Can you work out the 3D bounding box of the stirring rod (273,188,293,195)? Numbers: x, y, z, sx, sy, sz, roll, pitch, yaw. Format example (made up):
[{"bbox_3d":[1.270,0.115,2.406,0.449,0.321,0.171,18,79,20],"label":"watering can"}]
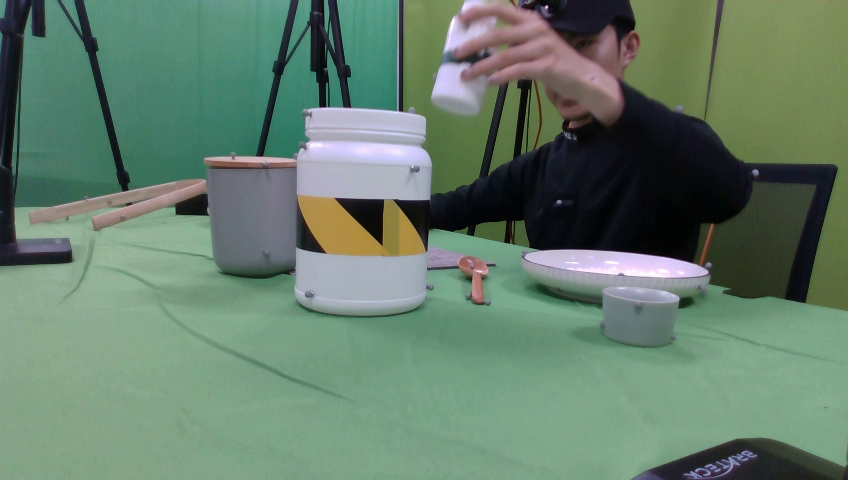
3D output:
[{"bbox_3d":[-0.353,-0.122,1.519,0.006,0.014,0.176,1,7,1],"label":"stirring rod"}]

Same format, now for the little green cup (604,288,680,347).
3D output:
[{"bbox_3d":[0.180,0.064,0.505,0.061,0.038,0.061,2,7,0],"label":"little green cup"}]

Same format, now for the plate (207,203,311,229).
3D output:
[{"bbox_3d":[-0.342,-0.050,1.259,0.208,0.039,0.207,3,7,0],"label":"plate"}]

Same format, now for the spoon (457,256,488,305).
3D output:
[{"bbox_3d":[0.059,0.044,0.696,0.041,0.021,0.193,21,7,0],"label":"spoon"}]

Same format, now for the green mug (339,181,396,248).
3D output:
[{"bbox_3d":[-0.097,-0.044,0.995,0.093,0.105,0.125,-1,8,-21],"label":"green mug"}]

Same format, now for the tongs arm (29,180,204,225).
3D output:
[{"bbox_3d":[-0.609,-0.083,1.245,0.050,0.026,0.386,5,16,23],"label":"tongs arm"}]

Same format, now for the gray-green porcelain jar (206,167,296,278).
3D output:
[{"bbox_3d":[-0.201,-0.024,0.724,0.106,0.126,0.106,-1,9,1],"label":"gray-green porcelain jar"}]

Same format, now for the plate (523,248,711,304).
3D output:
[{"bbox_3d":[0.219,0.042,0.706,0.209,0.038,0.209,2,7,0],"label":"plate"}]

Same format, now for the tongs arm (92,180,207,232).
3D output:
[{"bbox_3d":[-0.534,-0.076,1.221,0.028,0.028,0.388,-2,15,12],"label":"tongs arm"}]

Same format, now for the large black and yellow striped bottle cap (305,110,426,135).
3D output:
[{"bbox_3d":[-0.055,-0.110,0.574,0.115,0.019,0.115,1,7,0],"label":"large black and yellow striped bottle cap"}]

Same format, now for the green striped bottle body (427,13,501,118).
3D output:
[{"bbox_3d":[0.052,-0.213,0.728,0.063,0.119,0.063,21,-5,2],"label":"green striped bottle body"}]

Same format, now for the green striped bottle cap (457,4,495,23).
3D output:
[{"bbox_3d":[0.063,-0.266,0.734,0.044,0.020,0.044,15,-7,2],"label":"green striped bottle cap"}]

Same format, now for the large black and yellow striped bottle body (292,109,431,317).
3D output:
[{"bbox_3d":[-0.060,-0.028,0.585,0.131,0.184,0.130,3,7,0],"label":"large black and yellow striped bottle body"}]

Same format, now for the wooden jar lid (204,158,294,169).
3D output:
[{"bbox_3d":[-0.202,-0.086,0.714,0.108,0.020,0.108,3,11,0],"label":"wooden jar lid"}]
